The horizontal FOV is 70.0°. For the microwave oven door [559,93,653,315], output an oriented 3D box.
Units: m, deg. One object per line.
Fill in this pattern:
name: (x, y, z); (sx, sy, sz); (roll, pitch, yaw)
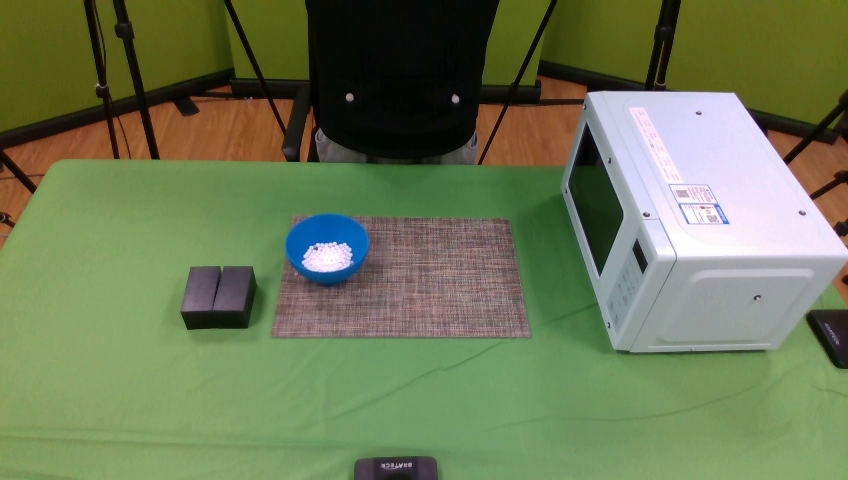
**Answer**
microwave oven door: (0.327, -0.074, 1.123); (0.039, 0.245, 0.353); (-1, 46, -5)

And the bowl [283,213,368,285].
bowl: (-0.178, 0.030, 1.114); (0.151, 0.077, 0.150); (3, 45, -2)

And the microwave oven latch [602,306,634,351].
microwave oven latch: (0.332, 0.153, 1.044); (0.030, 0.029, 0.078); (0, 45, -4)

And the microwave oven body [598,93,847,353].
microwave oven body: (0.475, -0.041, 1.109); (0.326, 0.261, 0.438); (-1, 45, -4)
